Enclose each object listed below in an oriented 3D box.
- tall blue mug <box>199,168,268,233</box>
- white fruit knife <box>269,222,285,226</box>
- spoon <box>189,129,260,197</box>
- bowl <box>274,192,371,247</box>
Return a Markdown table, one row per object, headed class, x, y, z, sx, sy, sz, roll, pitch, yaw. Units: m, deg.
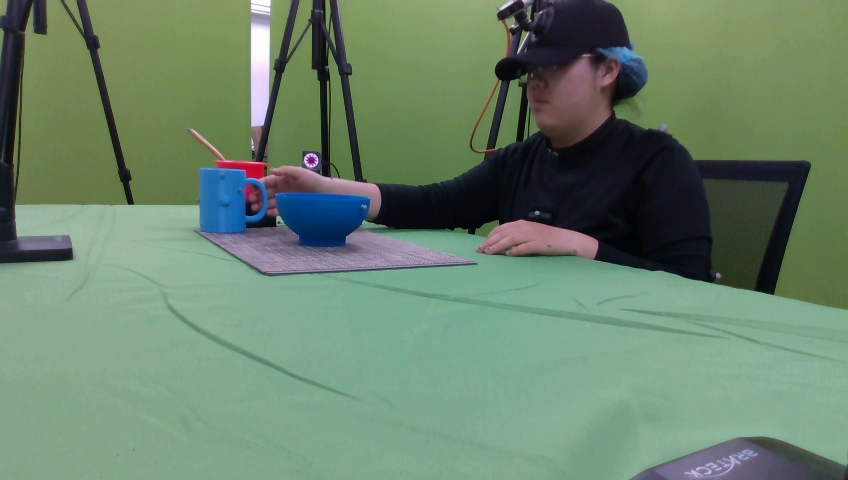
| class | x | y | z | sx | sy | sz | roll | pitch | yaw |
| --- | --- | --- | --- | --- | --- | --- | --- | --- | --- |
| tall blue mug | -0.342 | -0.071 | 1.072 | 0.077 | 0.108 | 0.108 | 8 | 9 | 38 |
| white fruit knife | -0.222 | -0.037 | 1.261 | 0.208 | 0.016 | 0.027 | -4 | -17 | -32 |
| spoon | -0.389 | -0.150 | 1.174 | 0.193 | 0.021 | 0.042 | 48 | 20 | 6 |
| bowl | -0.161 | -0.032 | 0.958 | 0.151 | 0.077 | 0.151 | 3 | 7 | 0 |
